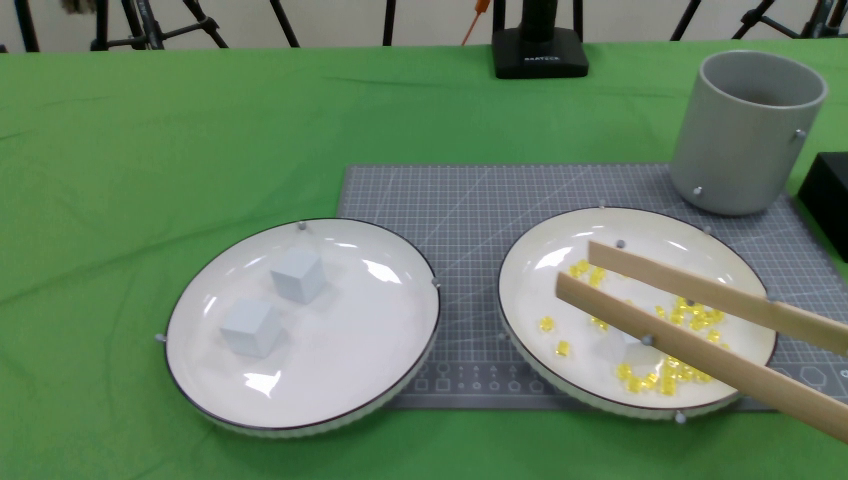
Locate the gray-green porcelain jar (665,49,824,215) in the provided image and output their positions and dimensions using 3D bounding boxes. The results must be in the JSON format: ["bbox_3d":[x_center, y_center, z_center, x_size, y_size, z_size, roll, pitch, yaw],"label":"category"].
[{"bbox_3d":[0.290,-0.096,0.566,0.106,0.127,0.105,-1,43,1],"label":"gray-green porcelain jar"}]

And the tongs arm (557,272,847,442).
[{"bbox_3d":[0.241,0.096,0.309,0.384,0.028,0.028,24,46,31],"label":"tongs arm"}]

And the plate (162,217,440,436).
[{"bbox_3d":[-0.091,0.063,0.475,0.209,0.038,0.207,-2,43,2],"label":"plate"}]

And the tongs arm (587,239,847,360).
[{"bbox_3d":[0.258,0.081,0.323,0.382,0.027,0.050,21,48,29],"label":"tongs arm"}]

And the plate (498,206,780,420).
[{"bbox_3d":[0.162,0.053,0.478,0.208,0.039,0.205,-1,43,1],"label":"plate"}]
